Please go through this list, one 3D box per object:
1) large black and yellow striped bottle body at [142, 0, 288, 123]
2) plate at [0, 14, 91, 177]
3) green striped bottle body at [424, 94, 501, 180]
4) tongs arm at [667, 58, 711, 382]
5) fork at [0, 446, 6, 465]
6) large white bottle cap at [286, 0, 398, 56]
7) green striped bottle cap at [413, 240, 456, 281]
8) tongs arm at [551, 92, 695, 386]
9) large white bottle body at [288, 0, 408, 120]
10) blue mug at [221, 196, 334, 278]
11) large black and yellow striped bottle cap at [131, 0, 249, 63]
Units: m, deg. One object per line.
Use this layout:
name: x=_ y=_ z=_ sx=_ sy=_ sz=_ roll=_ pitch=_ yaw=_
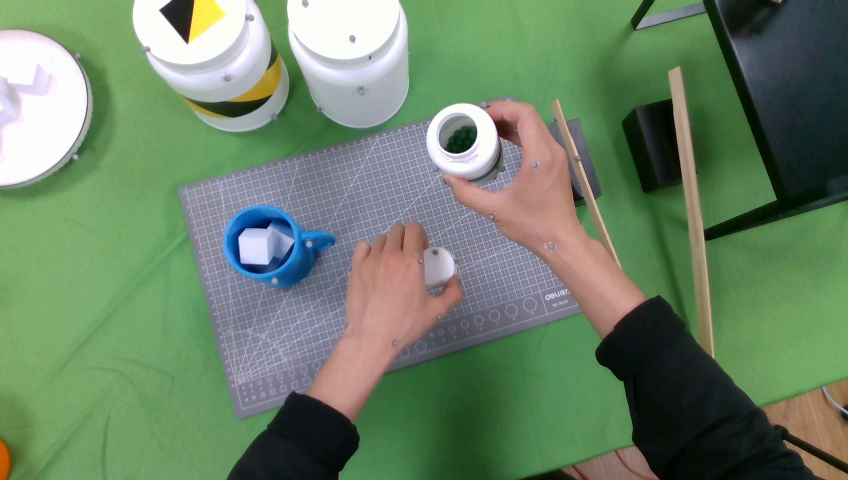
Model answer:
large black and yellow striped bottle body: x=-0.240 y=-0.225 z=0.701 sx=0.131 sy=0.184 sz=0.130 roll=0 pitch=81 yaw=-1
plate: x=-0.519 y=-0.178 z=0.760 sx=0.208 sy=0.039 sz=0.207 roll=0 pitch=82 yaw=-2
green striped bottle body: x=0.036 y=-0.093 z=0.554 sx=0.063 sy=0.119 sz=0.063 roll=0 pitch=88 yaw=10
tongs arm: x=0.316 y=-0.021 z=0.731 sx=0.028 sy=0.027 sz=0.387 roll=-8 pitch=94 yaw=-11
fork: x=-0.570 y=0.242 z=0.644 sx=0.209 sy=0.018 sz=0.028 roll=10 pitch=76 yaw=-44
large white bottle cap: x=-0.083 y=-0.246 z=0.622 sx=0.115 sy=0.018 sz=0.114 roll=0 pitch=81 yaw=-2
green striped bottle cap: x=0.011 y=0.022 z=0.650 sx=0.044 sy=0.020 sz=0.044 roll=1 pitch=93 yaw=13
tongs arm: x=0.238 y=0.001 z=0.723 sx=0.051 sy=0.026 sz=0.385 roll=-21 pitch=95 yaw=-7
large white bottle body: x=-0.084 y=-0.232 z=0.706 sx=0.131 sy=0.185 sz=0.130 roll=0 pitch=81 yaw=-2
blue mug: x=-0.164 y=-0.003 z=0.710 sx=0.116 sy=0.106 sz=0.082 roll=-9 pitch=82 yaw=-3
large black and yellow striped bottle cap: x=-0.239 y=-0.239 z=0.618 sx=0.115 sy=0.019 sz=0.114 roll=0 pitch=83 yaw=-3
